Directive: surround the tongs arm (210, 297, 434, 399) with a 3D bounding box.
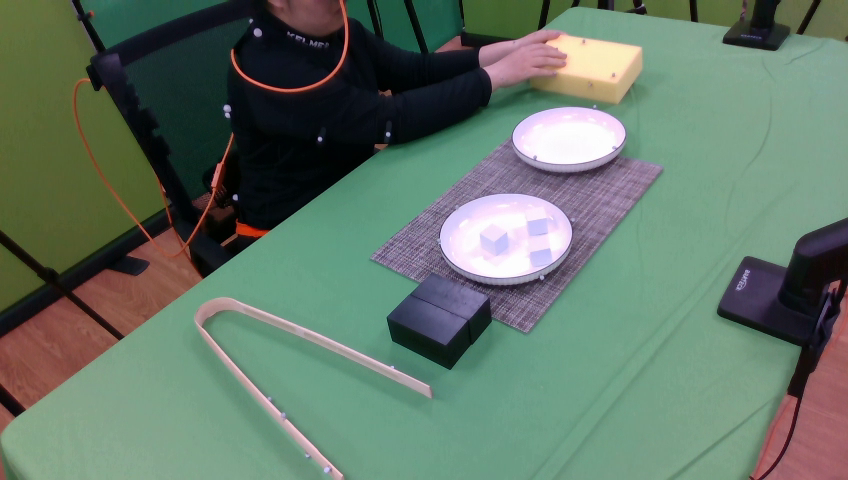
[{"bbox_3d":[-0.153,0.143,0.837,0.385,0.028,0.028,16,49,28],"label":"tongs arm"}]

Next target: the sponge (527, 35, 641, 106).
[{"bbox_3d":[0.344,-0.369,1.305,0.205,0.061,0.118,21,63,31],"label":"sponge"}]

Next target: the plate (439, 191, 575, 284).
[{"bbox_3d":[0.129,-0.001,0.942,0.207,0.039,0.206,-5,40,5],"label":"plate"}]

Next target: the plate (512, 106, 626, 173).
[{"bbox_3d":[0.269,-0.185,1.132,0.209,0.038,0.208,-5,40,5],"label":"plate"}]

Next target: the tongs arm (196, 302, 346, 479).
[{"bbox_3d":[-0.206,0.185,0.791,0.381,0.026,0.051,28,51,37],"label":"tongs arm"}]
